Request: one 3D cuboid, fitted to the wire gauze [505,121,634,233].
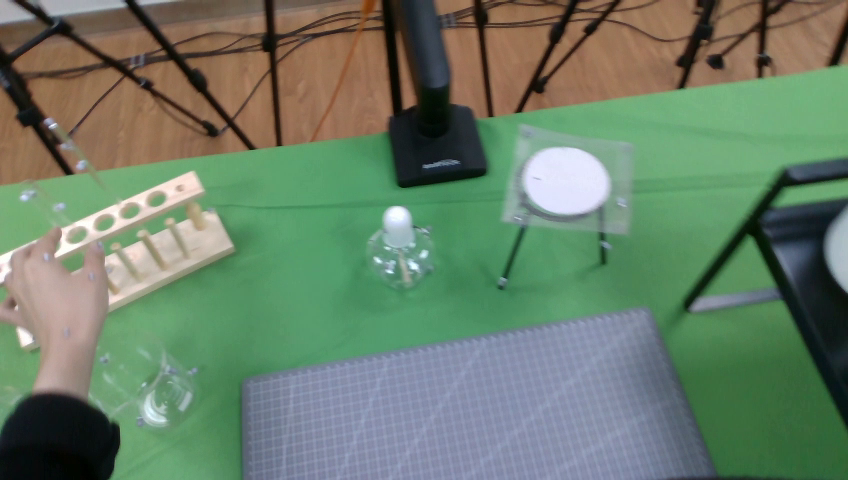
[{"bbox_3d":[0.149,-0.065,0.608,0.121,0.011,0.124,10,60,5],"label":"wire gauze"}]

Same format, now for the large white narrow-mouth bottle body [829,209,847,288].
[{"bbox_3d":[0.378,-0.027,0.414,0.102,0.196,0.101,0,60,0],"label":"large white narrow-mouth bottle body"}]

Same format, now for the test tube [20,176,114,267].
[{"bbox_3d":[-0.369,-0.014,0.636,0.017,0.151,0.017,-3,56,5],"label":"test tube"}]

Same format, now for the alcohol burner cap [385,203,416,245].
[{"bbox_3d":[-0.026,-0.020,0.632,0.034,0.048,0.033,0,57,1],"label":"alcohol burner cap"}]

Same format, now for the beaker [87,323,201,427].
[{"bbox_3d":[-0.268,0.139,0.592,0.074,0.101,0.083,4,59,4],"label":"beaker"}]

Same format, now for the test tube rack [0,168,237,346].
[{"bbox_3d":[-0.344,0.018,0.674,0.242,0.086,0.066,-28,62,-15],"label":"test tube rack"}]

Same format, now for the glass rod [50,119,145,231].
[{"bbox_3d":[-0.329,-0.051,0.637,0.008,0.202,0.008,-5,53,7],"label":"glass rod"}]

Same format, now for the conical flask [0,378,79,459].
[{"bbox_3d":[-0.391,0.156,0.569,0.075,0.123,0.074,-1,58,1],"label":"conical flask"}]

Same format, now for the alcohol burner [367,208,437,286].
[{"bbox_3d":[-0.025,0.001,0.663,0.078,0.120,0.077,0,57,0],"label":"alcohol burner"}]

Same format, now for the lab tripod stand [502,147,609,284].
[{"bbox_3d":[0.144,-0.027,0.664,0.148,0.132,0.147,0,57,0],"label":"lab tripod stand"}]
